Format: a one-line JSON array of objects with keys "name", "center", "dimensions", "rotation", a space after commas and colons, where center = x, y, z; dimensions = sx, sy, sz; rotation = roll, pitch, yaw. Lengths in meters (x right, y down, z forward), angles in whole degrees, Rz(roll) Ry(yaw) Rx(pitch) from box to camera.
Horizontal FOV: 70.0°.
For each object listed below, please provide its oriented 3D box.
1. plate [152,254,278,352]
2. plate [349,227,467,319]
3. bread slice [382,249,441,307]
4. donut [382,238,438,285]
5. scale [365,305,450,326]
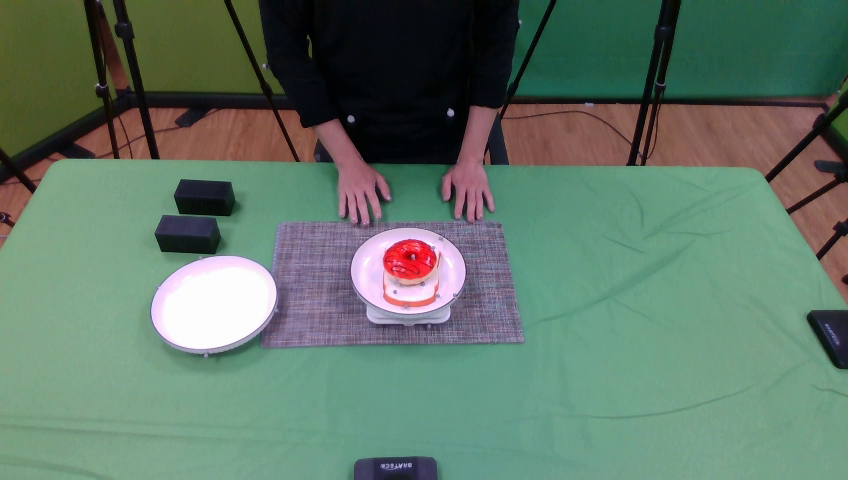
[{"name": "plate", "center": [-0.357, 0.111, 1.052], "dimensions": [0.208, 0.039, 0.206], "rotation": [2, 46, -2]}, {"name": "plate", "center": [-0.029, 0.061, 1.077], "dimensions": [0.209, 0.038, 0.208], "rotation": [2, 46, -2]}, {"name": "bread slice", "center": [-0.023, 0.064, 1.078], "dimensions": [0.105, 0.019, 0.130], "rotation": [2, 45, 0]}, {"name": "donut", "center": [-0.025, 0.036, 1.063], "dimensions": [0.099, 0.048, 0.098], "rotation": [0, 44, 0]}, {"name": "scale", "center": [-0.032, 0.071, 1.113], "dimensions": [0.149, 0.032, 0.199], "rotation": [0, 46, -4]}]
